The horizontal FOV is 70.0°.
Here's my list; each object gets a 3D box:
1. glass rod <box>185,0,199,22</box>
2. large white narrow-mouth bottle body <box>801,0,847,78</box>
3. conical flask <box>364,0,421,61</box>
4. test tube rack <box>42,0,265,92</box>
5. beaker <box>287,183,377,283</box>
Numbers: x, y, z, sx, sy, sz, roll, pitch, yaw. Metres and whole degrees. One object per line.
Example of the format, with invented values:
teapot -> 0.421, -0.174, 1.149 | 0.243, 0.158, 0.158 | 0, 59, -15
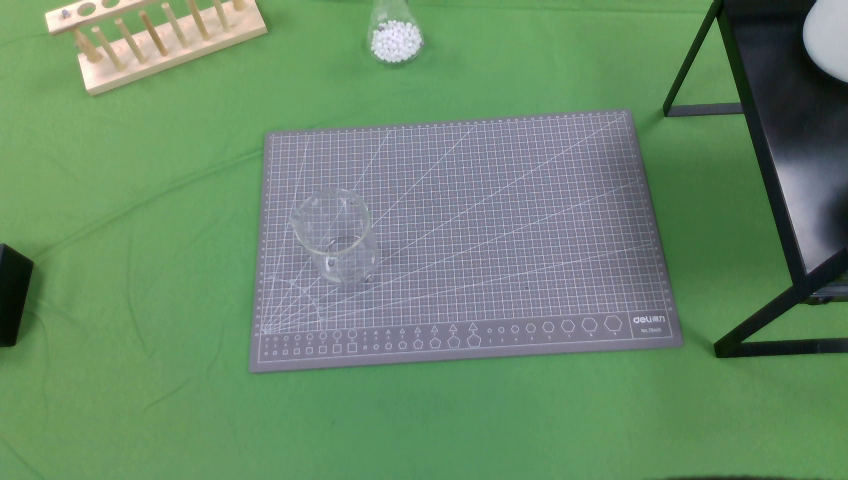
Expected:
glass rod -> -0.313, -0.347, 0.731 | 0.008, 0.201, 0.008 | -2, 58, 4
large white narrow-mouth bottle body -> 0.384, -0.218, 0.462 | 0.102, 0.196, 0.101 | -1, 66, 4
conical flask -> -0.044, -0.288, 0.747 | 0.075, 0.123, 0.075 | -1, 65, 3
test tube rack -> -0.339, -0.282, 0.776 | 0.242, 0.086, 0.066 | -23, 67, -8
beaker -> -0.091, -0.003, 0.632 | 0.084, 0.101, 0.073 | 6, 66, 6
